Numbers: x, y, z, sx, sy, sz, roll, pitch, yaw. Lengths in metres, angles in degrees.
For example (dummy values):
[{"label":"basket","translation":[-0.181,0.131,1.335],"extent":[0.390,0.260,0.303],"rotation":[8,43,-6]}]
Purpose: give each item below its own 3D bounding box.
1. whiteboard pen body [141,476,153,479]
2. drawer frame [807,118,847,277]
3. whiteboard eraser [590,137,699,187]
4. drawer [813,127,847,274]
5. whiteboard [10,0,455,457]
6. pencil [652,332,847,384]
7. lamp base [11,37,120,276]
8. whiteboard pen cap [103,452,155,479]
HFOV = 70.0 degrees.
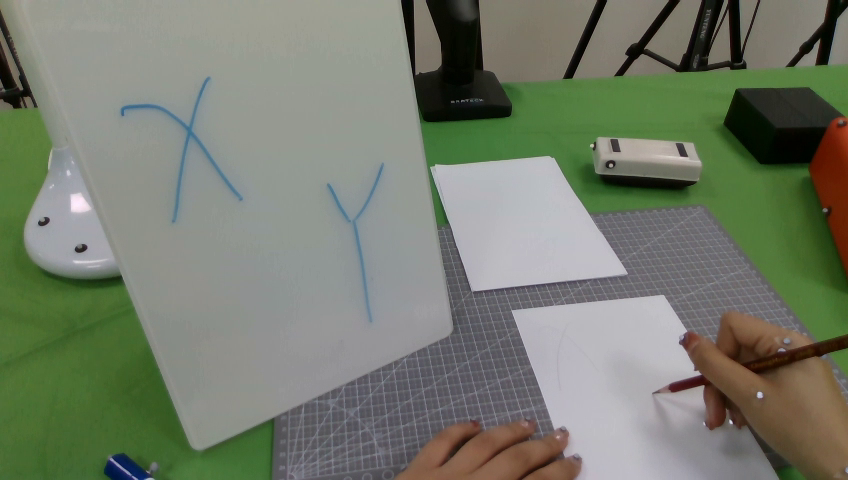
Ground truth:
[{"label":"whiteboard pen body","translation":[-0.147,0.177,0.378],"extent":[0.140,0.017,0.017],"rotation":[22,44,23]},{"label":"drawer frame","translation":[0.514,-0.025,0.594],"extent":[0.201,0.083,0.212],"rotation":[10,40,10]},{"label":"whiteboard eraser","translation":[0.250,-0.088,0.691],"extent":[0.112,0.042,0.055],"rotation":[5,42,4]},{"label":"drawer","translation":[0.514,-0.022,0.592],"extent":[0.194,0.074,0.210],"rotation":[11,41,12]},{"label":"whiteboard","translation":[-0.122,-0.040,0.459],"extent":[0.218,0.307,0.142],"rotation":[-21,26,-23]},{"label":"pencil","translation":[0.221,0.076,0.393],"extent":[0.012,0.194,0.012],"rotation":[12,64,-24]},{"label":"lamp base","translation":[-0.314,-0.084,0.554],"extent":[0.178,0.182,0.160],"rotation":[21,44,25]},{"label":"whiteboard pen cap","translation":[-0.195,0.155,0.402],"extent":[0.033,0.018,0.018],"rotation":[22,44,25]}]
